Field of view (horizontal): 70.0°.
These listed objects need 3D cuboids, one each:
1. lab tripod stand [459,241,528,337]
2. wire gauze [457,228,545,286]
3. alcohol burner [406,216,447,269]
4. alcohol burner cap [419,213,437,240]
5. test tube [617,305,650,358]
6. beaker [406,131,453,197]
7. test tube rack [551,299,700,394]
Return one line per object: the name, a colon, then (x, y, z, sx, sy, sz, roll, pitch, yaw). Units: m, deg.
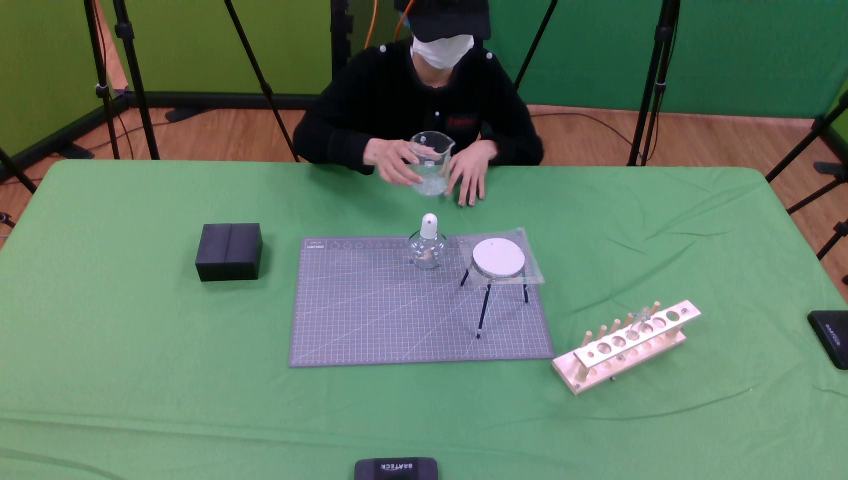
lab tripod stand: (0.122, 0.075, 1.054, 0.148, 0.132, 0.147, 3, 44, -3)
wire gauze: (0.126, 0.029, 1.006, 0.125, 0.011, 0.120, -4, 46, -10)
alcohol burner: (0.006, -0.003, 1.134, 0.078, 0.120, 0.077, 2, 48, -2)
alcohol burner cap: (0.009, -0.028, 1.109, 0.034, 0.048, 0.033, 3, 45, -3)
test tube: (0.333, 0.149, 0.967, 0.017, 0.151, 0.017, 0, 52, 1)
beaker: (0.010, -0.136, 1.101, 0.084, 0.101, 0.073, -11, 47, -11)
test tube rack: (0.339, 0.166, 1.021, 0.242, 0.085, 0.066, -19, 50, -21)
